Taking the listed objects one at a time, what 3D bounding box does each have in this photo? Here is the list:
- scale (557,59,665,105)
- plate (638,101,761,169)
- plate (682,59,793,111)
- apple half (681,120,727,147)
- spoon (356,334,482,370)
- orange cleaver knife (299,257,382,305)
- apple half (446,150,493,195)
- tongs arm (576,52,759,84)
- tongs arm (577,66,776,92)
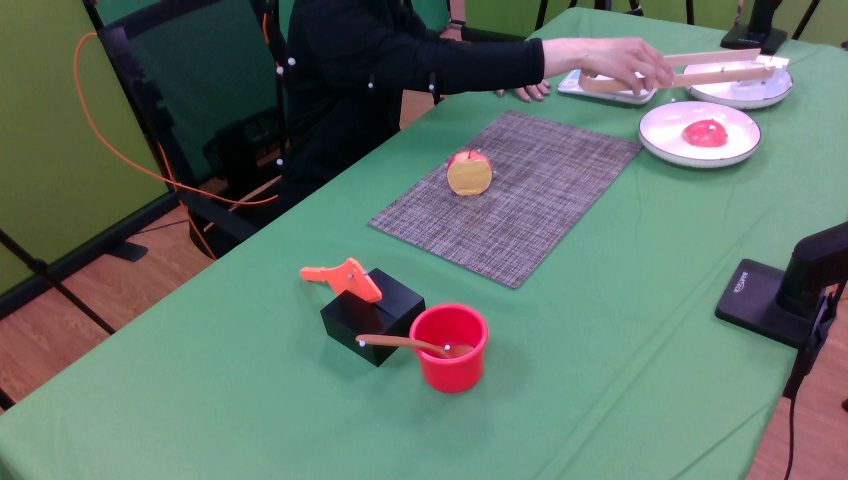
[{"bbox_3d":[0.407,-0.347,1.314,0.199,0.032,0.149,19,47,28],"label":"scale"},{"bbox_3d":[0.500,-0.189,1.111,0.209,0.038,0.208,-4,41,4],"label":"plate"},{"bbox_3d":[0.636,-0.317,1.239,0.207,0.039,0.206,-4,40,4],"label":"plate"},{"bbox_3d":[0.518,-0.202,1.115,0.081,0.033,0.081,-1,40,2],"label":"apple half"},{"bbox_3d":[-0.001,0.130,0.731,0.195,0.021,0.041,22,28,-39],"label":"spoon"},{"bbox_3d":[-0.124,0.062,0.872,0.012,0.077,0.210,-38,17,-30],"label":"orange cleaver knife"},{"bbox_3d":[0.080,-0.123,1.065,0.081,0.075,0.053,-7,37,7],"label":"apple half"},{"bbox_3d":[0.472,-0.335,1.164,0.389,0.028,0.028,-8,50,-10],"label":"tongs arm"},{"bbox_3d":[0.478,-0.310,1.140,0.386,0.026,0.050,-8,47,-10],"label":"tongs arm"}]
